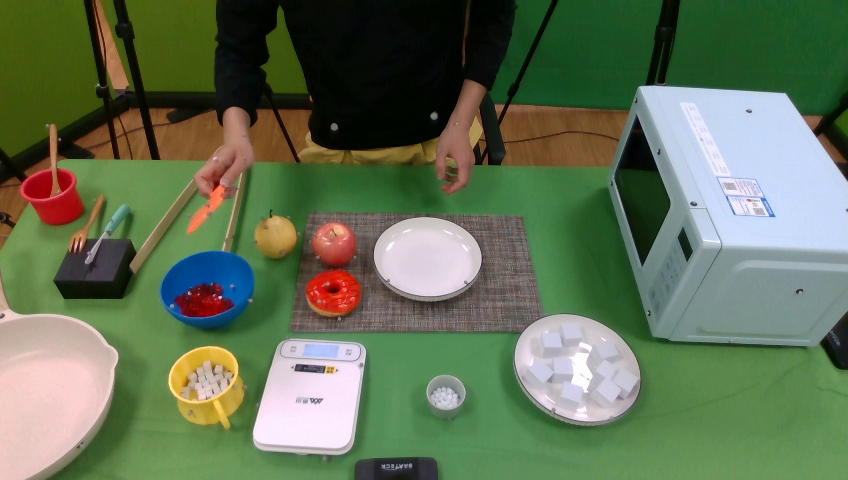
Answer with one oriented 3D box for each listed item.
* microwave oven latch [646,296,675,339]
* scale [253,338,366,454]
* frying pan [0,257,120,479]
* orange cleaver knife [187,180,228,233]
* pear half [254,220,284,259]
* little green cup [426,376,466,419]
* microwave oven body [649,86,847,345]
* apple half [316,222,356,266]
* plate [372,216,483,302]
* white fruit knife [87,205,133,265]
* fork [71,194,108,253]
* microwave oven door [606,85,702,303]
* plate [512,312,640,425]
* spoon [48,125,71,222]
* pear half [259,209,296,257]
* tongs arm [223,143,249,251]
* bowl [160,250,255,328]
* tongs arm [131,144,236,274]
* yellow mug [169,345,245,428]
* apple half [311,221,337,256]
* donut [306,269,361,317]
[{"bbox_3d":[0.412,0.134,1.061,0.030,0.029,0.078,4,45,1],"label":"microwave oven latch"},{"bbox_3d":[-0.175,0.236,0.951,0.149,0.032,0.199,4,46,0],"label":"scale"},{"bbox_3d":[-0.647,0.164,0.936,0.307,0.103,0.485,-19,58,-22],"label":"frying pan"},{"bbox_3d":[-0.337,-0.055,0.945,0.077,0.012,0.210,-42,21,0],"label":"orange cleaver knife"},{"bbox_3d":[-0.294,0.003,1.127,0.070,0.088,0.031,26,49,16],"label":"pear half"},{"bbox_3d":[0.033,0.248,0.950,0.061,0.039,0.061,2,46,-2],"label":"little green cup"},{"bbox_3d":[0.567,-0.053,1.118,0.326,0.261,0.439,2,45,-1],"label":"microwave oven body"},{"bbox_3d":[-0.157,0.015,1.132,0.053,0.075,0.080,28,47,18],"label":"apple half"},{"bbox_3d":[0.006,0.038,1.145,0.209,0.038,0.208,2,46,-2],"label":"plate"},{"bbox_3d":[-0.584,-0.013,1.129,0.016,0.027,0.206,0,31,-4],"label":"white fruit knife"},{"bbox_3d":[-0.634,-0.036,1.158,0.028,0.019,0.206,-7,31,-9],"label":"fork"},{"bbox_3d":[0.422,-0.094,1.140,0.039,0.245,0.353,2,46,-1],"label":"microwave oven door"},{"bbox_3d":[0.246,0.213,0.999,0.208,0.039,0.206,2,46,-2],"label":"plate"},{"bbox_3d":[-0.719,-0.131,1.189,0.041,0.021,0.193,-3,91,-6],"label":"spoon"},{"bbox_3d":[-0.274,-0.024,1.141,0.076,0.110,0.056,27,50,17],"label":"pear half"},{"bbox_3d":[-0.397,-0.073,1.232,0.051,0.027,0.382,-3,45,0],"label":"tongs arm"},{"bbox_3d":[-0.362,0.098,1.040,0.151,0.077,0.150,2,45,-2],"label":"bowl"},{"bbox_3d":[-0.483,-0.077,1.236,0.028,0.028,0.385,5,45,13],"label":"tongs arm"},{"bbox_3d":[-0.322,0.230,0.922,0.100,0.064,0.130,-24,53,-25],"label":"yellow mug"},{"bbox_3d":[-0.190,-0.001,1.143,0.032,0.081,0.081,28,51,18],"label":"apple half"},{"bbox_3d":[-0.160,0.094,1.075,0.099,0.048,0.098,4,46,-3],"label":"donut"}]
